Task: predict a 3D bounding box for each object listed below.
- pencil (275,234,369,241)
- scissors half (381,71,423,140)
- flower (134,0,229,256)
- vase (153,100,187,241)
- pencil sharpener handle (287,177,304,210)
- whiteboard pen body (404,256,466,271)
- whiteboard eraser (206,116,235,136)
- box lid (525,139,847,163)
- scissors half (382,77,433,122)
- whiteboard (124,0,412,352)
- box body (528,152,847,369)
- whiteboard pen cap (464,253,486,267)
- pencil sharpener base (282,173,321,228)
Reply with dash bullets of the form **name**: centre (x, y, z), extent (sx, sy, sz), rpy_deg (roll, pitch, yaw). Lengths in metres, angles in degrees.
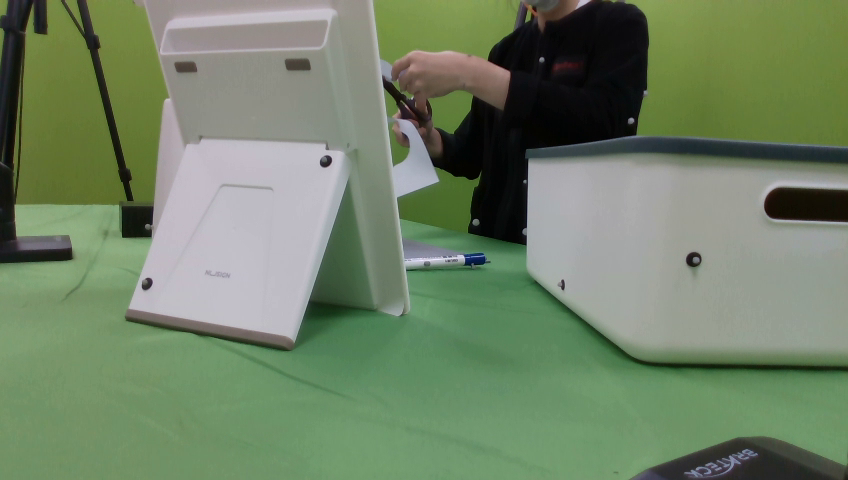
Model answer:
- **pencil**: centre (-0.169, -0.006, 1.036), extent (0.195, 0.012, 0.012), rpy_deg (-2, 8, -45)
- **scissors half**: centre (-0.048, -0.237, 1.053), extent (0.012, 0.040, 0.176), rpy_deg (24, -23, 41)
- **flower**: centre (-0.282, -0.147, 0.713), extent (0.038, 0.362, 0.044), rpy_deg (-23, 24, -31)
- **vase**: centre (-0.278, -0.066, 0.736), extent (0.098, 0.200, 0.098), rpy_deg (2, 9, 0)
- **pencil sharpener handle**: centre (-0.269, -0.096, 1.257), extent (0.036, 0.067, 0.030), rpy_deg (-8, 8, -27)
- **whiteboard pen body**: centre (0.013, 0.030, 0.792), extent (0.141, 0.017, 0.017), rpy_deg (-2, 9, -24)
- **whiteboard eraser**: centre (-0.450, -0.252, 1.335), extent (0.056, 0.042, 0.112), rpy_deg (1, 7, -22)
- **box lid**: centre (0.261, -0.078, 0.580), extent (0.264, 0.015, 0.371), rpy_deg (2, 7, -4)
- **scissors half**: centre (-0.037, -0.255, 1.057), extent (0.013, 0.040, 0.176), rpy_deg (17, -4, 39)
- **whiteboard**: centre (-0.151, -0.049, 0.472), extent (0.216, 0.305, 0.144), rpy_deg (6, 27, 24)
- **box body**: centre (0.257, -0.005, 0.591), extent (0.254, 0.160, 0.363), rpy_deg (2, 7, -4)
- **whiteboard pen cap**: centre (0.066, 0.027, 0.818), extent (0.033, 0.018, 0.018), rpy_deg (-5, 10, -24)
- **pencil sharpener base**: centre (-0.247, -0.080, 1.212), extent (0.061, 0.107, 0.076), rpy_deg (-2, 5, -28)
